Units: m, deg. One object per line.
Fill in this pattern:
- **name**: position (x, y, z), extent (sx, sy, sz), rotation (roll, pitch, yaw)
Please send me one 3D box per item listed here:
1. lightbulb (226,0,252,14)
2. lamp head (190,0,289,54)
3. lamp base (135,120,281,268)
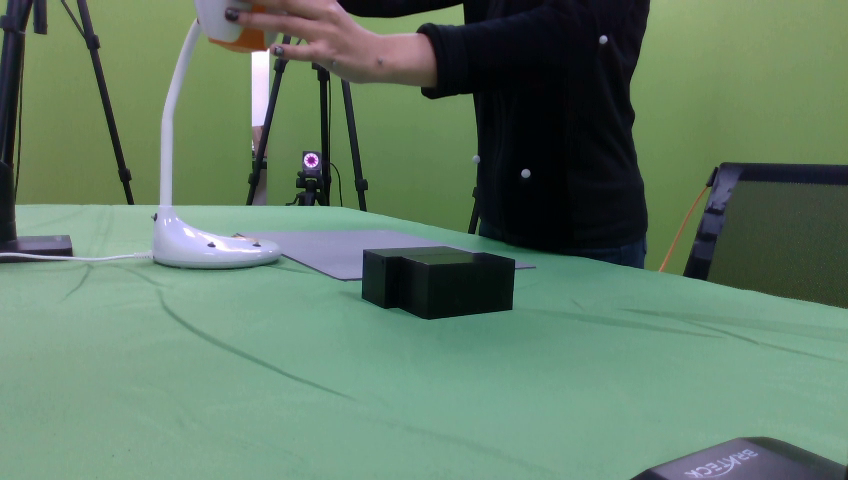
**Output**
- **lightbulb**: position (-0.176, -0.280, 0.597), extent (0.059, 0.107, 0.059), rotation (12, 14, -3)
- **lamp head**: position (-0.188, -0.252, 0.607), extent (0.112, 0.123, 0.112), rotation (10, 20, -4)
- **lamp base**: position (-0.276, -0.061, 0.773), extent (0.180, 0.180, 0.160), rotation (-9, 13, -44)
